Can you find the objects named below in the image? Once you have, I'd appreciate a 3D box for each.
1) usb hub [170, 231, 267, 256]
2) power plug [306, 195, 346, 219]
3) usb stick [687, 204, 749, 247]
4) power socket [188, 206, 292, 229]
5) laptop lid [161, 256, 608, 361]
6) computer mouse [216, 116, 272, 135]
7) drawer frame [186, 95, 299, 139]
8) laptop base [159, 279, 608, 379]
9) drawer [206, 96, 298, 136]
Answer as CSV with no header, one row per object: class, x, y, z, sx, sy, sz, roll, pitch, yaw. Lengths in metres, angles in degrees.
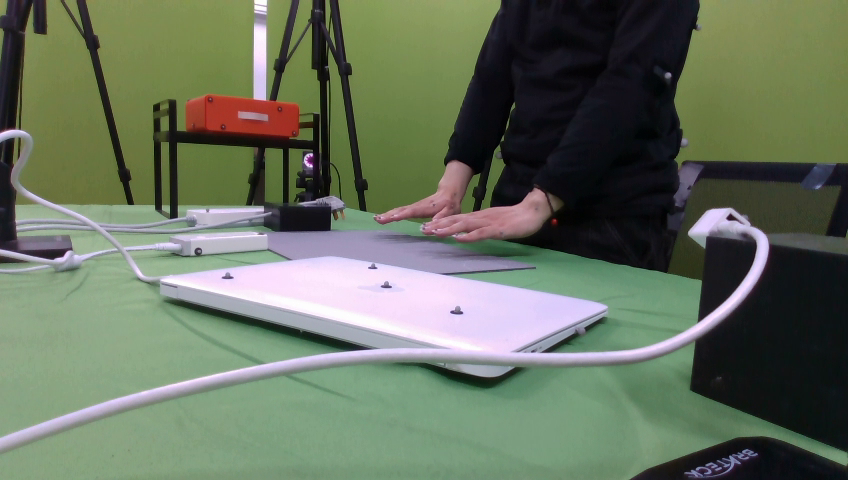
usb hub,-0.290,0.004,0.862,0.049,0.025,0.126,10,11,42
power plug,-0.192,-0.061,1.199,0.073,0.052,0.035,-18,-7,-9
usb stick,0.214,-0.010,0.448,0.021,0.027,0.059,39,2,6
power socket,-0.363,-0.048,1.209,0.072,0.032,0.228,7,9,36
laptop lid,-0.037,0.046,0.556,0.355,0.013,0.243,8,8,35
computer mouse,-0.402,-0.257,1.353,0.118,0.041,0.062,-5,14,-35
drawer frame,-0.417,-0.277,1.378,0.203,0.082,0.212,-3,8,-32
laptop base,-0.039,0.059,0.555,0.352,0.023,0.237,8,6,33
drawer,-0.414,-0.276,1.376,0.195,0.073,0.210,-3,9,-31
